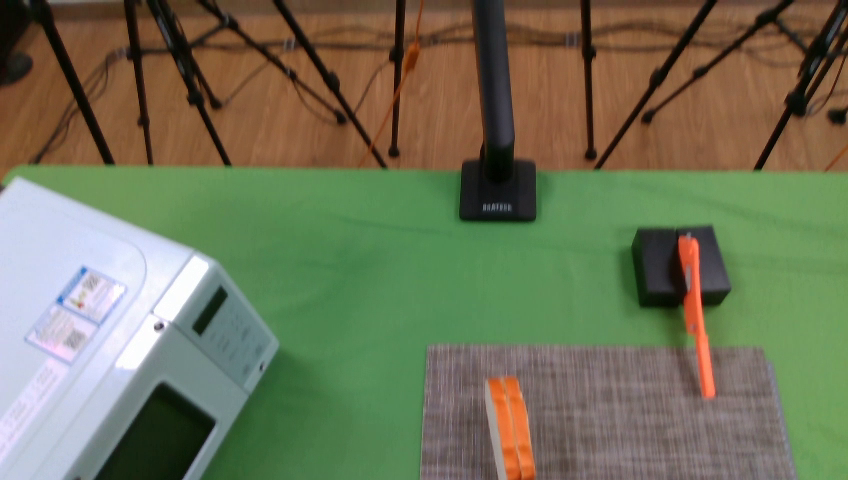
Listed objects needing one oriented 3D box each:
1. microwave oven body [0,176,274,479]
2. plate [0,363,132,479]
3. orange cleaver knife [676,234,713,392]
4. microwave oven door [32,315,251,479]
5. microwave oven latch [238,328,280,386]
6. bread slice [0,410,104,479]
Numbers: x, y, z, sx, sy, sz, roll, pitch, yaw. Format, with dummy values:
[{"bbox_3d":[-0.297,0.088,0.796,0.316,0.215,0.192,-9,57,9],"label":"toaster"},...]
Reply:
[{"bbox_3d":[-0.444,0.200,0.704,0.324,0.262,0.439,20,64,16],"label":"microwave oven body"},{"bbox_3d":[-0.457,0.253,0.735,0.208,0.039,0.205,0,58,1],"label":"plate"},{"bbox_3d":[0.354,0.091,0.800,0.012,0.077,0.210,-4,80,6],"label":"orange cleaver knife"},{"bbox_3d":[-0.330,0.277,0.641,0.039,0.246,0.354,19,63,17],"label":"microwave oven door"},{"bbox_3d":[-0.227,0.155,0.822,0.030,0.030,0.079,21,64,16],"label":"microwave oven latch"},{"bbox_3d":[-0.454,0.279,0.725,0.134,0.018,0.106,-19,59,-16],"label":"bread slice"}]
